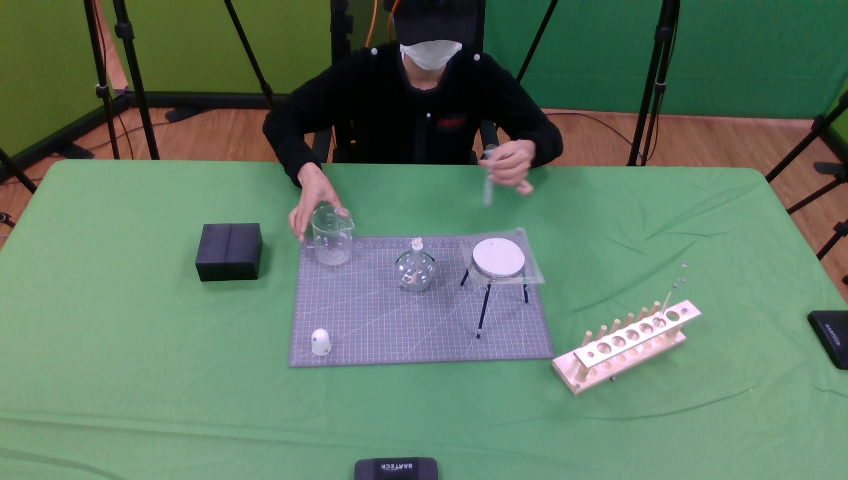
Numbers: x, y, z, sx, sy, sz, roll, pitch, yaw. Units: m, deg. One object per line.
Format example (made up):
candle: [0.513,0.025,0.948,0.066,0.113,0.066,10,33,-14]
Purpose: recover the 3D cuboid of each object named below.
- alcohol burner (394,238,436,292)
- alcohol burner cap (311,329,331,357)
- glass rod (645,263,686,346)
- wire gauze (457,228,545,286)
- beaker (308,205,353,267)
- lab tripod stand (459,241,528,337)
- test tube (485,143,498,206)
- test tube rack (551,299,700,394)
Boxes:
alcohol burner: [-0.016,0.038,1.093,0.078,0.119,0.077,2,47,-2]
alcohol burner cap: [-0.173,0.168,1.004,0.034,0.048,0.033,2,46,-2]
glass rod: [0.391,0.110,0.986,0.008,0.201,0.008,2,42,-1]
wire gauze: [0.126,0.029,1.006,0.125,0.011,0.120,-4,46,-10]
beaker: [-0.171,-0.004,1.132,0.084,0.101,0.073,16,47,10]
lab tripod stand: [0.122,0.075,1.054,0.148,0.132,0.147,3,44,-3]
test tube: [0.122,-0.115,1.096,0.017,0.151,0.017,-1,51,1]
test tube rack: [0.339,0.166,1.021,0.242,0.085,0.066,-19,50,-21]
